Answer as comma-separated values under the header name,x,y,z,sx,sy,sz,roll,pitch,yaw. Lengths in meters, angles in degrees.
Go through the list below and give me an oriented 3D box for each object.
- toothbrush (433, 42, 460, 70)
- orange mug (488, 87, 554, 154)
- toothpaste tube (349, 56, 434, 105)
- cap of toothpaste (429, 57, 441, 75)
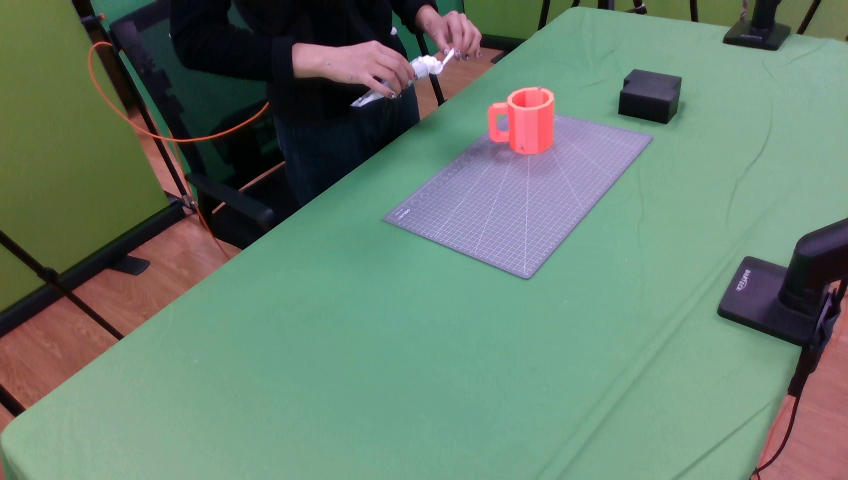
name,x,y,z,sx,sy,sz,roll,pitch,yaw
toothbrush,0.046,-0.347,1.134,0.016,0.014,0.182,12,32,10
orange mug,0.185,-0.227,1.151,0.126,0.101,0.083,1,41,5
toothpaste tube,-0.052,-0.273,1.039,0.165,0.034,0.054,-32,20,-16
cap of toothpaste,0.016,-0.314,1.083,0.037,0.011,0.037,12,64,-26
